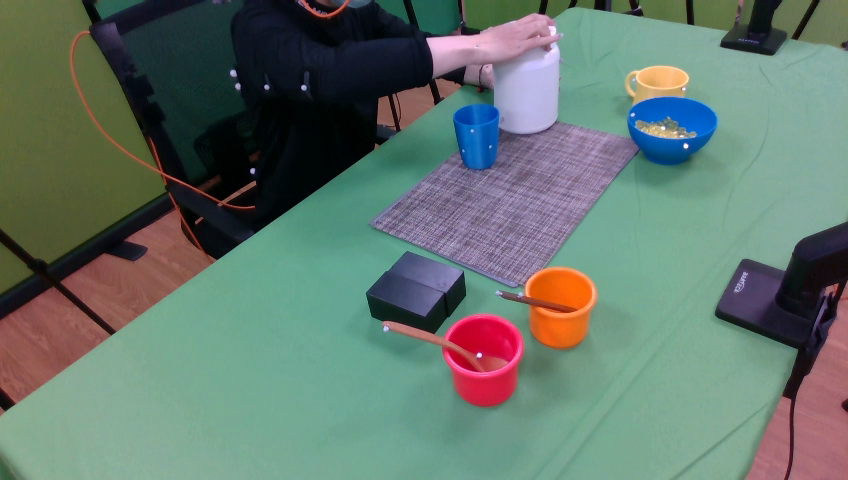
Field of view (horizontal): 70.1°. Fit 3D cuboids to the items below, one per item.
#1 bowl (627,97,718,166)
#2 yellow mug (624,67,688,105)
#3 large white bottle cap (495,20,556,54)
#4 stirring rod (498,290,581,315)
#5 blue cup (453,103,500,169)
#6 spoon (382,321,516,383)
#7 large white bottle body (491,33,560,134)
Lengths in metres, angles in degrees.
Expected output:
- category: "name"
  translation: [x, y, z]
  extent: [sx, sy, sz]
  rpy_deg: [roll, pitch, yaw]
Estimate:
- category: "bowl"
  translation: [0.439, -0.187, 1.087]
  extent: [0.151, 0.077, 0.150]
  rpy_deg: [-4, 41, 4]
- category: "yellow mug"
  translation: [0.465, -0.305, 1.230]
  extent: [0.100, 0.064, 0.129]
  rpy_deg: [-34, 46, -27]
- category: "large white bottle cap"
  translation: [0.190, -0.381, 1.131]
  extent: [0.115, 0.018, 0.114]
  rpy_deg: [-4, 42, 4]
- category: "stirring rod"
  translation: [0.152, 0.081, 0.771]
  extent: [0.178, 0.006, 0.014]
  rpy_deg: [16, 19, -44]
- category: "blue cup"
  translation: [0.099, -0.188, 1.115]
  extent: [0.092, 0.100, 0.092]
  rpy_deg: [-4, 39, 4]
- category: "spoon"
  translation: [0.033, 0.131, 0.725]
  extent: [0.195, 0.021, 0.041]
  rpy_deg: [29, 29, -26]
- category: "large white bottle body"
  translation: [0.199, -0.318, 1.186]
  extent: [0.130, 0.185, 0.130]
  rpy_deg: [-5, 40, 4]
